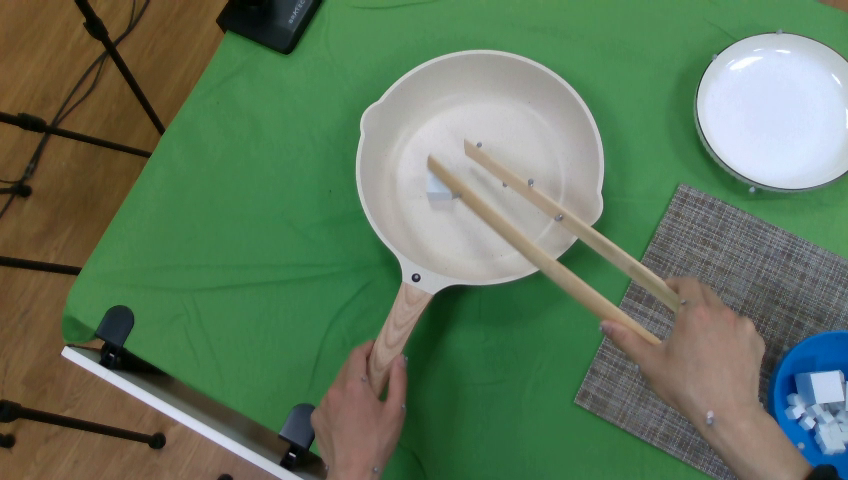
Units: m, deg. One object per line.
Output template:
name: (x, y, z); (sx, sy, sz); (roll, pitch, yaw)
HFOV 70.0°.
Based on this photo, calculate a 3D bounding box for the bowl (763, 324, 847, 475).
bowl: (0.432, 0.168, 0.650); (0.151, 0.077, 0.150); (-1, 78, 4)

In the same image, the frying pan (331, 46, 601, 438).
frying pan: (0.015, -0.002, 0.708); (0.306, 0.103, 0.486); (25, 72, 10)

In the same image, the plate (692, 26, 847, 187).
plate: (0.434, -0.161, 0.746); (0.207, 0.039, 0.206); (-1, 78, 4)

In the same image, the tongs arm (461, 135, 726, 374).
tongs arm: (0.146, -0.007, 0.628); (0.051, 0.027, 0.380); (-29, 51, -26)

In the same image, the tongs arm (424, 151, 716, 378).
tongs arm: (0.118, 0.008, 0.615); (0.028, 0.028, 0.383); (-26, 49, -28)
